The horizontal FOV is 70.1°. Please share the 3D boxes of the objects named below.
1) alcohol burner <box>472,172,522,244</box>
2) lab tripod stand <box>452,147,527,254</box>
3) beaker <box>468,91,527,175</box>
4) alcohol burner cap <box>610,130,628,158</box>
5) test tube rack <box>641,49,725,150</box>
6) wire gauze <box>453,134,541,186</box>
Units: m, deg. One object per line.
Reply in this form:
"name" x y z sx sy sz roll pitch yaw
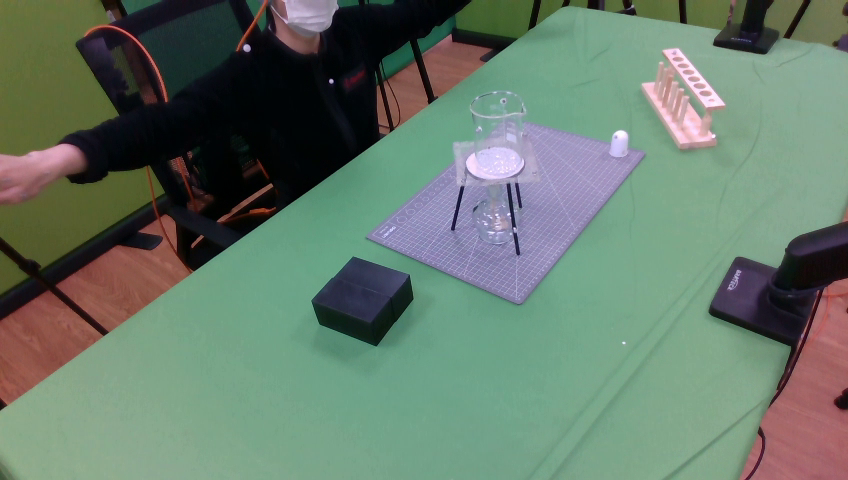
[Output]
"alcohol burner" 0.112 -0.053 0.942 0.078 0.119 0.077 -6 40 5
"lab tripod stand" 0.111 -0.066 0.943 0.148 0.132 0.147 -5 42 5
"beaker" 0.108 -0.151 0.865 0.083 0.101 0.074 15 47 26
"alcohol burner cap" 0.359 -0.177 1.106 0.034 0.048 0.033 -5 41 5
"test tube rack" 0.495 -0.279 1.175 0.067 0.085 0.241 -5 41 3
"wire gauze" 0.106 -0.118 0.903 0.125 0.011 0.121 -6 39 7
